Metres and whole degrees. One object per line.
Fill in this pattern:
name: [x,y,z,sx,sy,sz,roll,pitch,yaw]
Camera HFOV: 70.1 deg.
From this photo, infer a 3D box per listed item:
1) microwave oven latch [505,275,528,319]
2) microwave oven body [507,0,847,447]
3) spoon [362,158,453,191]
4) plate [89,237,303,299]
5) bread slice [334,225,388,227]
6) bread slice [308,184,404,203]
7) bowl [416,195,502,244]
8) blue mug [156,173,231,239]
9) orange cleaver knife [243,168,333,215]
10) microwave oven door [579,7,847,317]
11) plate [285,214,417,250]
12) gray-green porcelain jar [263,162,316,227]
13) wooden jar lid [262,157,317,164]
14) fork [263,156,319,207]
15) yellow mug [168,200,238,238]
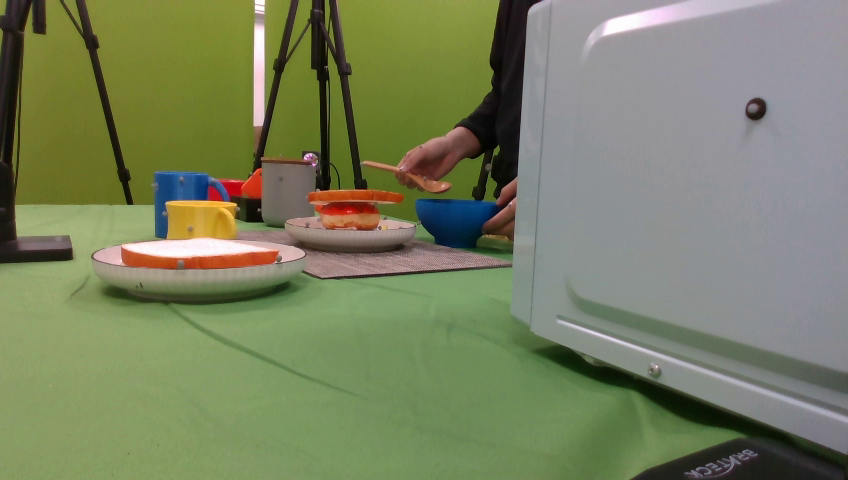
microwave oven latch: [0.100,0.042,0.471,0.079,0.029,0.030,-1,7,-29]
microwave oven body: [0.331,-0.042,0.425,0.444,0.260,0.324,-2,8,-31]
spoon: [-0.034,-0.127,1.123,0.193,0.021,0.042,23,45,22]
plate: [-0.233,0.029,0.637,0.208,0.039,0.207,2,7,0]
bread slice: [-0.103,-0.010,0.961,0.131,0.019,0.105,3,8,24]
bread slice: [-0.114,-0.072,0.953,0.134,0.018,0.107,-3,-1,22]
bowl: [0.059,-0.035,1.049,0.151,0.077,0.151,2,7,0]
blue mug: [-0.381,-0.057,1.004,0.117,0.106,0.082,0,8,-12]
orange cleaver knife: [-0.300,-0.089,1.351,0.212,0.077,0.012,28,-9,-34]
microwave oven door: [0.295,-0.067,0.570,0.358,0.243,0.039,-3,9,-31]
plate: [-0.116,-0.014,0.964,0.209,0.038,0.209,2,7,0]
gray-green porcelain jar: [-0.271,-0.092,1.217,0.106,0.126,0.106,2,7,0]
wooden jar lid: [-0.269,-0.154,1.208,0.108,0.020,0.108,3,4,0]
fork: [-0.331,-0.144,1.506,0.207,0.018,0.028,-42,-20,22]
yellow mug: [-0.320,-0.023,0.904,0.130,0.064,0.100,9,10,36]
